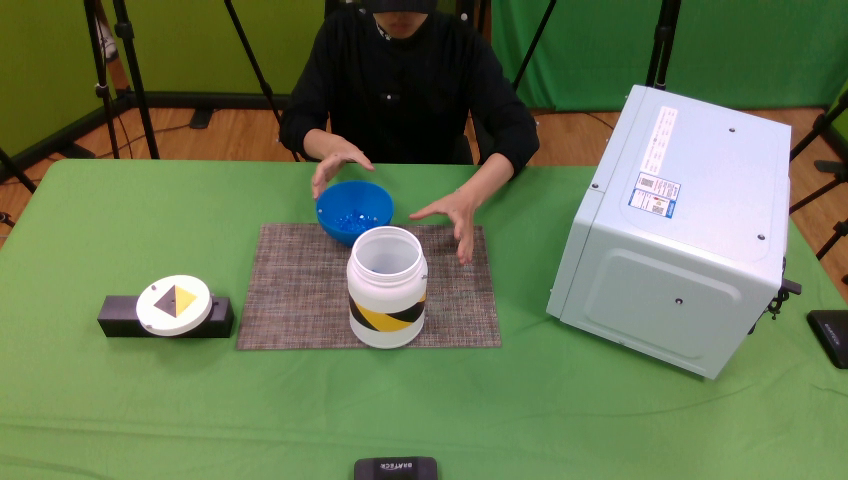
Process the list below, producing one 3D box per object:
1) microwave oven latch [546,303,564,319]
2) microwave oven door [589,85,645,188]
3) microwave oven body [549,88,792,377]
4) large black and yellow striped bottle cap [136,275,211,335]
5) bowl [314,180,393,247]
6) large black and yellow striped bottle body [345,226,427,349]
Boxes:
[{"bbox_3d":[0.242,0.102,1.081,0.030,0.029,0.079,21,48,17],"label":"microwave oven latch"},{"bbox_3d":[0.341,-0.107,1.149,0.039,0.245,0.354,20,48,15],"label":"microwave oven door"},{"bbox_3d":[0.456,-0.028,1.088,0.325,0.261,0.440,20,47,16],"label":"microwave oven body"},{"bbox_3d":[-0.412,0.105,0.999,0.115,0.019,0.114,3,46,-3],"label":"large black and yellow striped bottle cap"},{"bbox_3d":[-0.135,-0.040,1.180,0.151,0.077,0.150,2,46,-2],"label":"bowl"},{"bbox_3d":[-0.062,0.078,0.998,0.131,0.185,0.130,2,46,-2],"label":"large black and yellow striped bottle body"}]
